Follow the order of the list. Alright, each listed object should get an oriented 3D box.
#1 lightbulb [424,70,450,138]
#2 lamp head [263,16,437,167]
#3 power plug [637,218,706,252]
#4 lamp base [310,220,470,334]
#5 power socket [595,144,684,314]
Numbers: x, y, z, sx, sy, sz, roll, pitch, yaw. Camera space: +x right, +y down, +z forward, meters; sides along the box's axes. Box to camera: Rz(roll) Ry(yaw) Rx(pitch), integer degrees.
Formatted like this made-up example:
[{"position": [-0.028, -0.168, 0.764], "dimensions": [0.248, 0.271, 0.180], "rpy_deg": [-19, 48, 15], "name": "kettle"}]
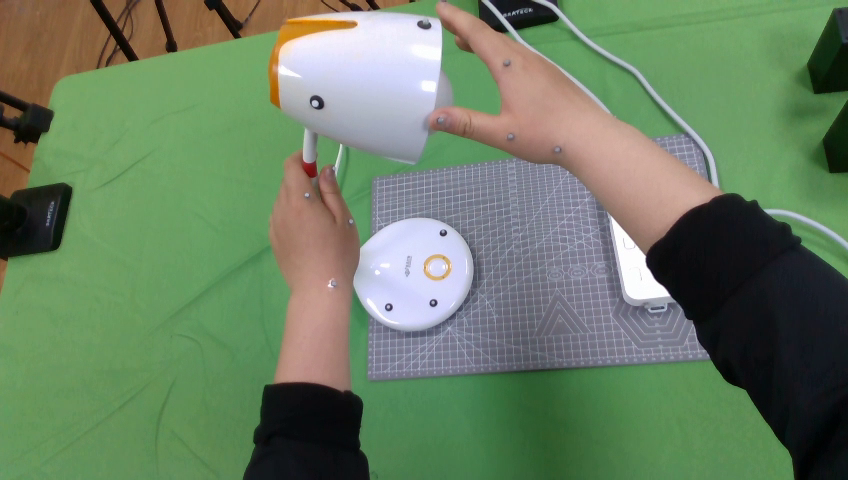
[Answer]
[{"position": [-0.033, -0.113, 0.460], "dimensions": [0.108, 0.059, 0.059], "rpy_deg": [14, 69, -10], "name": "lightbulb"}, {"position": [-0.059, -0.116, 0.462], "dimensions": [0.123, 0.113, 0.111], "rpy_deg": [4, 67, -7], "name": "lamp head"}, {"position": [0.291, -0.002, 0.716], "dimensions": [0.072, 0.053, 0.035], "rpy_deg": [2, 70, 13], "name": "power plug"}, {"position": [-0.049, 0.019, 0.735], "dimensions": [0.179, 0.182, 0.159], "rpy_deg": [-11, 65, 13], "name": "lamp base"}, {"position": [0.264, -0.021, 0.752], "dimensions": [0.072, 0.033, 0.225], "rpy_deg": [-8, 66, 10], "name": "power socket"}]
